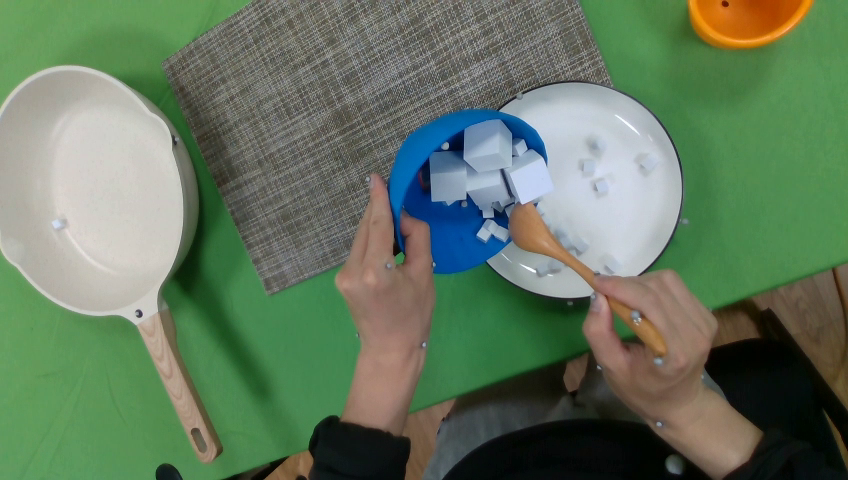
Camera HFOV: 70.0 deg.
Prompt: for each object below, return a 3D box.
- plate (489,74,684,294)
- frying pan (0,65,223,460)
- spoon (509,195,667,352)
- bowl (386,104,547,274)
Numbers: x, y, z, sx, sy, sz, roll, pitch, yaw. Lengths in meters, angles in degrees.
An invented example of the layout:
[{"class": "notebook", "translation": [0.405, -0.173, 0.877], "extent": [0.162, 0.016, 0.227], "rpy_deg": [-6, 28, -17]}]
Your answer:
[{"class": "plate", "translation": [0.137, -0.052, 0.585], "extent": [0.207, 0.039, 0.208], "rpy_deg": [4, 104, 16]}, {"class": "frying pan", "translation": [-0.352, 0.034, 0.722], "extent": [0.306, 0.103, 0.486], "rpy_deg": [-28, 83, 21]}, {"class": "spoon", "translation": [0.116, 0.019, 0.461], "extent": [0.191, 0.022, 0.042], "rpy_deg": [47, 134, 47]}, {"class": "bowl", "translation": [0.023, -0.054, 0.521], "extent": [0.076, 0.152, 0.152], "rpy_deg": [44, 114, 42]}]
